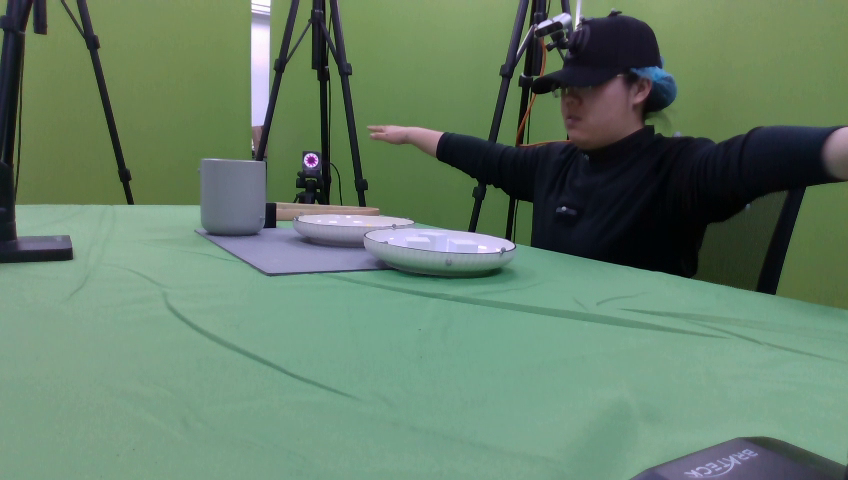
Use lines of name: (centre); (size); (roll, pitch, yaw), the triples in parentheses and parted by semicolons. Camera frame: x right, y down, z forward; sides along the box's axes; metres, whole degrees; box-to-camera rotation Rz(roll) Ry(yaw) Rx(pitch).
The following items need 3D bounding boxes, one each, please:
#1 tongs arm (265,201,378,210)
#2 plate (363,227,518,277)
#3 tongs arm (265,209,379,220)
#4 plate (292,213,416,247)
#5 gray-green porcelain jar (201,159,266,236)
tongs arm: (-0.300, -0.072, 1.417); (0.386, 0.026, 0.050); (2, 8, -13)
plate: (0.022, 0.016, 0.817); (0.209, 0.038, 0.209); (3, 9, 0)
tongs arm: (-0.277, -0.057, 1.341); (0.389, 0.028, 0.028); (-1, 6, -26)
plate: (-0.118, -0.017, 1.024); (0.208, 0.039, 0.207); (2, 7, 0)
gray-green porcelain jar: (-0.326, -0.074, 1.036); (0.106, 0.126, 0.106); (3, 8, 0)
